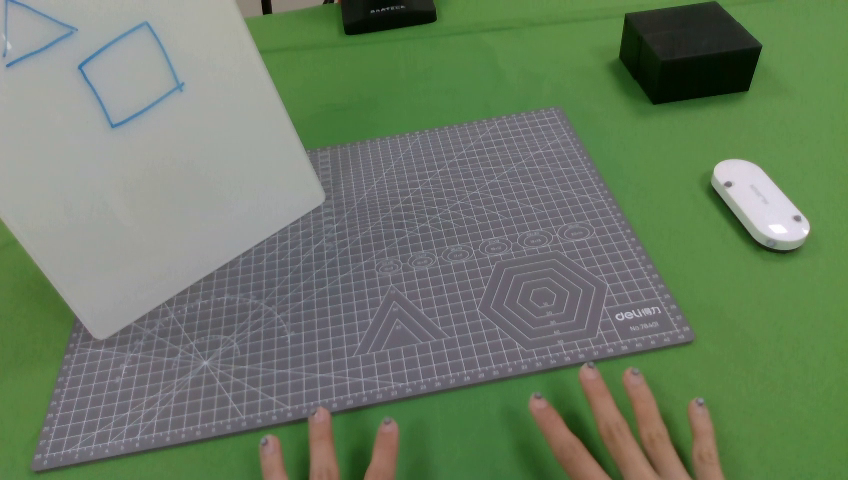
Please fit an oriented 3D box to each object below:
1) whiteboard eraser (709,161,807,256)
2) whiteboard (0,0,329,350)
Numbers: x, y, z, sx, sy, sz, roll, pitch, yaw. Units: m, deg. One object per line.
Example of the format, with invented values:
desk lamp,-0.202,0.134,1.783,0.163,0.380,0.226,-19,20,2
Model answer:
whiteboard eraser,0.269,-0.029,0.492,0.041,0.019,0.100,-10,46,-4
whiteboard,-0.252,-0.114,0.479,0.217,0.308,0.142,-36,33,-24
